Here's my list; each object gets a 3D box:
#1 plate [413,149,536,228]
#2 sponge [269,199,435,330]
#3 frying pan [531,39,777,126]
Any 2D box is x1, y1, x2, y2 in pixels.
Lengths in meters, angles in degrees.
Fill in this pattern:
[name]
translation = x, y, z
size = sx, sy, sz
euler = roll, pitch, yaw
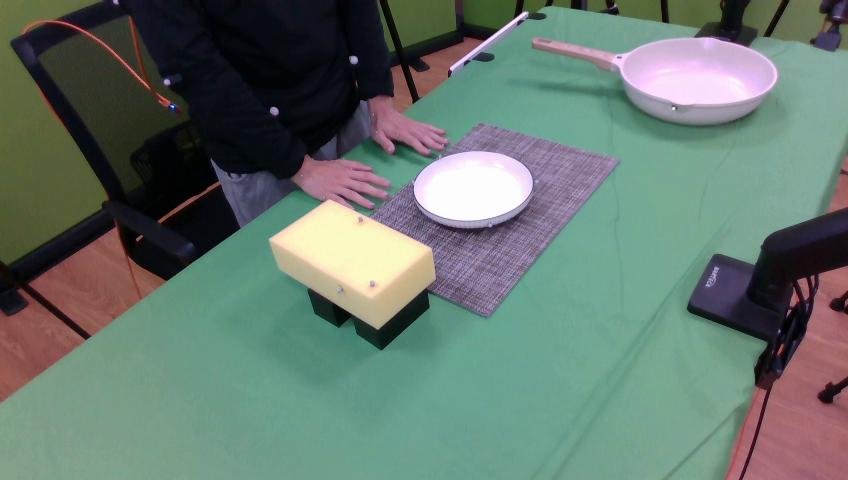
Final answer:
[plate]
translation = 0.086, -0.085, 1.038
size = 0.207, 0.039, 0.206
euler = -4, 40, 4
[sponge]
translation = -0.102, 0.027, 0.846
size = 0.205, 0.061, 0.118
euler = 25, 50, 32
[frying pan]
translation = 0.452, -0.354, 1.254
size = 0.485, 0.103, 0.307
euler = 22, 47, 19
